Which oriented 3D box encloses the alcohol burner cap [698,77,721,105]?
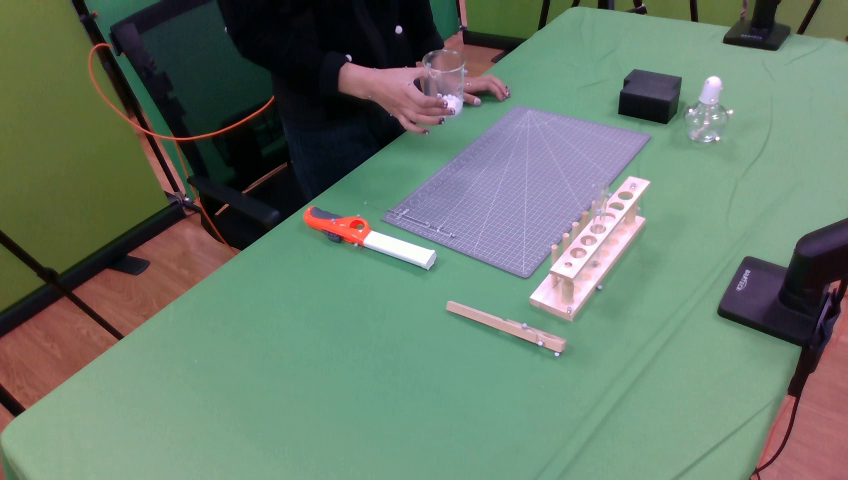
[{"bbox_3d":[0.509,-0.266,1.072,0.034,0.048,0.033,-4,48,5],"label":"alcohol burner cap"}]

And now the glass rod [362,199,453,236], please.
[{"bbox_3d":[-0.032,-0.041,1.041,0.198,0.008,0.008,22,50,31],"label":"glass rod"}]

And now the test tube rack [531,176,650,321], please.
[{"bbox_3d":[0.246,0.002,0.884,0.066,0.085,0.243,22,49,32],"label":"test tube rack"}]

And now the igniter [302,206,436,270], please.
[{"bbox_3d":[-0.101,-0.007,1.004,0.274,0.025,0.057,19,58,29],"label":"igniter"}]

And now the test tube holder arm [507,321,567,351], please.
[{"bbox_3d":[0.148,0.128,0.808,0.087,0.015,0.010,16,11,28],"label":"test tube holder arm"}]

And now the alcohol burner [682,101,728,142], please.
[{"bbox_3d":[0.513,-0.239,1.097,0.078,0.119,0.077,-4,40,4],"label":"alcohol burner"}]

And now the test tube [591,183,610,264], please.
[{"bbox_3d":[0.242,-0.019,0.832,0.017,0.151,0.017,-5,46,6],"label":"test tube"}]

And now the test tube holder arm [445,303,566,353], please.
[{"bbox_3d":[0.107,0.117,0.824,0.177,0.015,0.013,16,11,27],"label":"test tube holder arm"}]

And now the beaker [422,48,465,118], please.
[{"bbox_3d":[0.032,-0.271,1.063,0.073,0.100,0.084,18,49,18],"label":"beaker"}]
